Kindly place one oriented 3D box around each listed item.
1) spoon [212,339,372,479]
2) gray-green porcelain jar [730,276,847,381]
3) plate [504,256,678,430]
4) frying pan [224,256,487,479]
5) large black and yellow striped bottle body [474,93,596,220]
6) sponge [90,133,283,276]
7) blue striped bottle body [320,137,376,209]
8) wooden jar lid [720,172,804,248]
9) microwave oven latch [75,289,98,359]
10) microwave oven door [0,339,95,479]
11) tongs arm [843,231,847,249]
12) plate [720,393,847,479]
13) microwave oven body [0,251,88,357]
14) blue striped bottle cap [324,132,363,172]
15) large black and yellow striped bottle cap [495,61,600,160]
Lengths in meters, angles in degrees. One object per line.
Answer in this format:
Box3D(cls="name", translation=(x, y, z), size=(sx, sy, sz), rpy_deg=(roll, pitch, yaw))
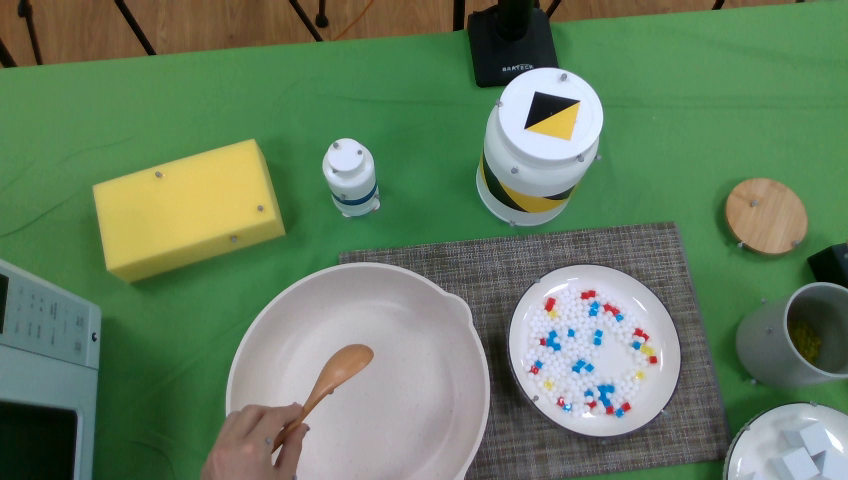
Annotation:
Box3D(cls="spoon", translation=(-0.124, 0.163, 0.573), size=(0.193, 0.022, 0.041), rpy_deg=(-46, 41, -13))
Box3D(cls="gray-green porcelain jar", translation=(0.432, 0.108, 0.707), size=(0.106, 0.127, 0.105), rpy_deg=(0, 72, -1))
Box3D(cls="plate", translation=(0.200, 0.123, 0.739), size=(0.209, 0.038, 0.208), rpy_deg=(0, 72, -1))
Box3D(cls="frying pan", translation=(-0.014, 0.236, 0.649), size=(0.307, 0.103, 0.483), rpy_deg=(-36, 64, -8))
Box3D(cls="large black and yellow striped bottle body", translation=(0.133, -0.114, 0.741), size=(0.131, 0.185, 0.130), rpy_deg=(0, 71, -1))
Box3D(cls="sponge", translation=(-0.299, -0.046, 0.773), size=(0.207, 0.061, 0.117), rpy_deg=(-18, 74, -8))
Box3D(cls="blue striped bottle body", translation=(-0.095, -0.088, 0.760), size=(0.063, 0.121, 0.062), rpy_deg=(0, 72, -1))
Box3D(cls="wooden jar lid", translation=(0.449, -0.039, 0.810), size=(0.108, 0.021, 0.108), rpy_deg=(0, 74, -1))
Box3D(cls="microwave oven latch", translation=(-0.405, 0.100, 0.716), size=(0.030, 0.029, 0.078), rpy_deg=(-4, 73, -3))
Box3D(cls="microwave oven door", translation=(-0.386, 0.275, 0.554), size=(0.039, 0.245, 0.353), rpy_deg=(-5, 72, -3))
Box3D(cls="tongs arm", translation=(0.570, 0.172, 0.707), size=(0.051, 0.026, 0.383), rpy_deg=(-10, 83, -6))
Box3D(cls="plate", translation=(0.442, 0.283, 0.698), size=(0.208, 0.039, 0.206), rpy_deg=(0, 72, -1))
Box3D(cls="microwave oven body", translation=(-0.534, 0.249, 0.564), size=(0.326, 0.261, 0.439), rpy_deg=(-5, 73, -3))
Box3D(cls="blue striped bottle cap", translation=(-0.094, -0.104, 0.711), size=(0.044, 0.021, 0.044), rpy_deg=(0, 69, 1))
Box3D(cls="large black and yellow striped bottle cap", translation=(0.135, -0.143, 0.662), size=(0.115, 0.019, 0.114), rpy_deg=(1, 74, -1))
